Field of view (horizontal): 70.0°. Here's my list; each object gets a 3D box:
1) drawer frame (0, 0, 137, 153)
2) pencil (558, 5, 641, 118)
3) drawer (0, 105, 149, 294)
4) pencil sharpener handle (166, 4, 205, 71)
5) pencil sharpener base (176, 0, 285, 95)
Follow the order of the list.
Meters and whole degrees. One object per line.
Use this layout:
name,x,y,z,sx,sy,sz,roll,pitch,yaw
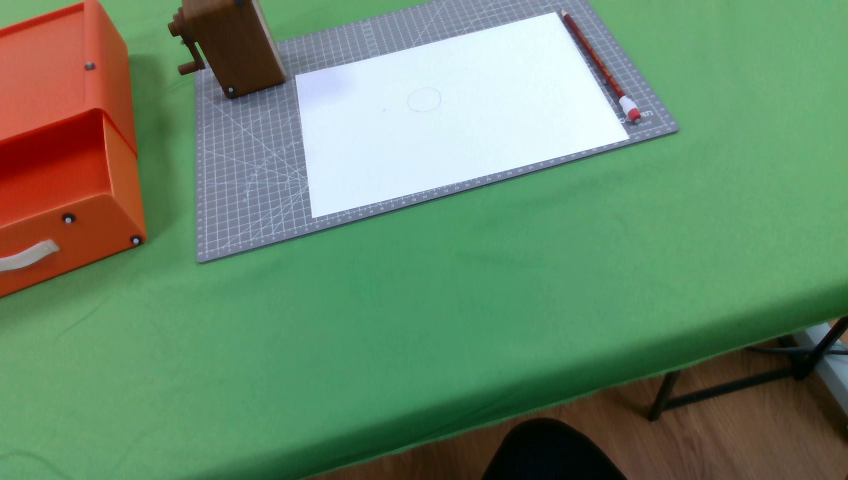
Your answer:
drawer frame,-0.423,-0.145,0.643,0.202,0.083,0.211,-22,53,-6
pencil,0.172,-0.187,0.612,0.012,0.012,0.192,-16,53,-2
drawer,-0.380,-0.059,0.577,0.194,0.074,0.209,-22,54,-6
pencil sharpener handle,-0.251,-0.205,0.623,0.030,0.068,0.035,-20,51,-4
pencil sharpener base,-0.202,-0.216,0.637,0.077,0.108,0.060,-20,54,-4
